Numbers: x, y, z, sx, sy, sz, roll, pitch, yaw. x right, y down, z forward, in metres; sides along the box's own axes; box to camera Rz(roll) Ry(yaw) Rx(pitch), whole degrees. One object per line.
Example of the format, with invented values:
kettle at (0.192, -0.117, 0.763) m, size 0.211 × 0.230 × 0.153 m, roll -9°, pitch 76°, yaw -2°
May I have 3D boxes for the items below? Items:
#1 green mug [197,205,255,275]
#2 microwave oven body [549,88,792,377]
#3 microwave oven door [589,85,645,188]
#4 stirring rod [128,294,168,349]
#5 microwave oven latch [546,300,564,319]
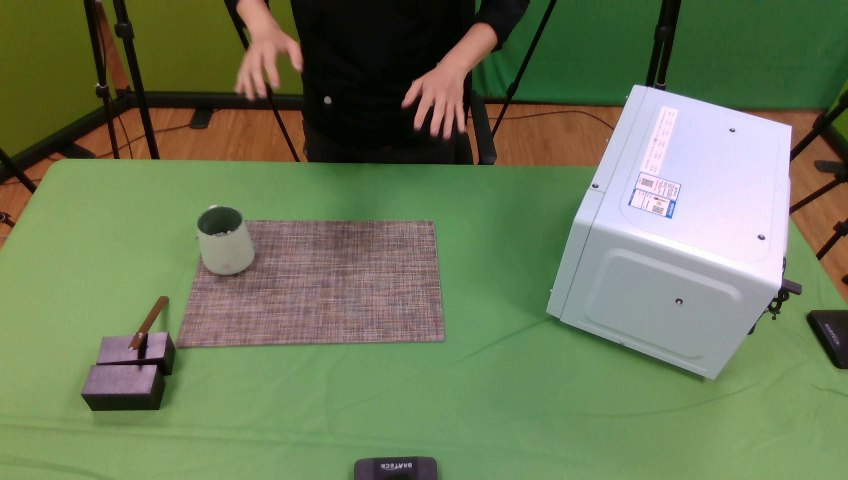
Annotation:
green mug at (-0.370, -0.008, 1.114) m, size 0.092 × 0.105 × 0.124 m, roll -19°, pitch 50°, yaw -20°
microwave oven body at (0.456, -0.028, 1.088) m, size 0.325 × 0.261 × 0.440 m, roll 20°, pitch 47°, yaw 16°
microwave oven door at (0.342, -0.107, 1.149) m, size 0.039 × 0.245 × 0.354 m, roll 20°, pitch 48°, yaw 15°
stirring rod at (-0.451, 0.131, 0.996) m, size 0.014 × 0.006 × 0.175 m, roll 9°, pitch 21°, yaw -10°
microwave oven latch at (0.242, 0.102, 1.081) m, size 0.030 × 0.029 × 0.079 m, roll 21°, pitch 48°, yaw 17°
